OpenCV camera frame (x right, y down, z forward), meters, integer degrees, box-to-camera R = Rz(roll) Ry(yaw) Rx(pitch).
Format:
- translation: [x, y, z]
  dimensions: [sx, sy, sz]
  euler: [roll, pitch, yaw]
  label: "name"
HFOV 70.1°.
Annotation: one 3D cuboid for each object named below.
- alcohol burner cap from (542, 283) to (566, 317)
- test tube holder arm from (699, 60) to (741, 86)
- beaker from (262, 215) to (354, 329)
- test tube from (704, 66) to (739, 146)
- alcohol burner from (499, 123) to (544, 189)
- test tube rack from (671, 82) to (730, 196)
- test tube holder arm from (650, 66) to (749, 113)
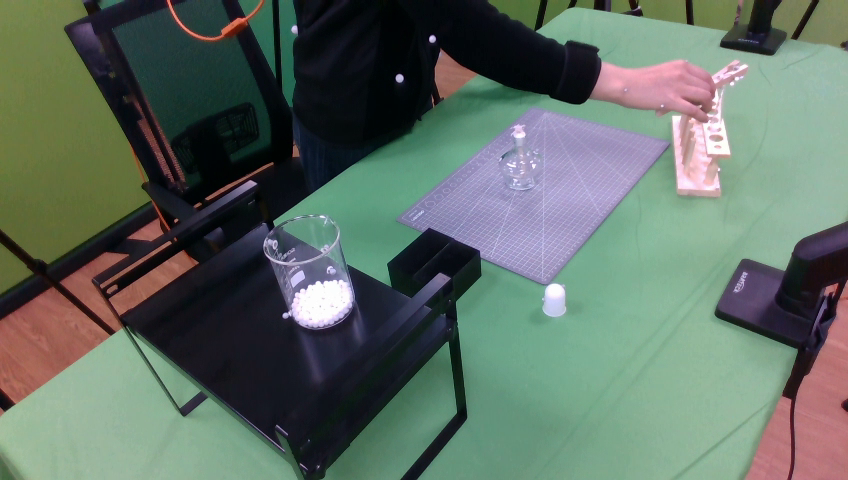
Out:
- translation: [0.181, 0.081, 0.839]
  dimensions: [0.034, 0.048, 0.033]
  euler: [-4, 41, 4]
  label: "alcohol burner cap"
- translation: [0.452, -0.251, 0.925]
  dimensions: [0.088, 0.015, 0.010]
  euler: [-32, 59, -19]
  label: "test tube holder arm"
- translation: [-0.112, 0.034, 0.616]
  dimensions: [0.073, 0.101, 0.084]
  euler: [13, 44, 23]
  label: "beaker"
- translation: [0.479, -0.211, 0.979]
  dimensions: [0.017, 0.151, 0.017]
  euler: [-2, 46, 3]
  label: "test tube"
- translation: [0.169, -0.149, 1.048]
  dimensions: [0.078, 0.119, 0.077]
  euler: [-6, 41, 5]
  label: "alcohol burner"
- translation: [0.482, -0.184, 1.067]
  dimensions: [0.066, 0.085, 0.242]
  euler: [6, 42, 14]
  label: "test tube rack"
- translation: [0.416, -0.228, 0.910]
  dimensions: [0.179, 0.015, 0.013]
  euler: [-24, 56, -14]
  label: "test tube holder arm"
